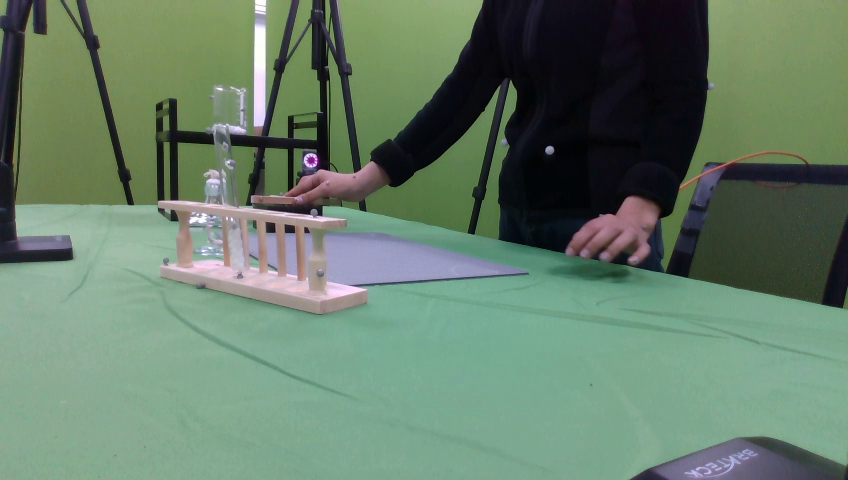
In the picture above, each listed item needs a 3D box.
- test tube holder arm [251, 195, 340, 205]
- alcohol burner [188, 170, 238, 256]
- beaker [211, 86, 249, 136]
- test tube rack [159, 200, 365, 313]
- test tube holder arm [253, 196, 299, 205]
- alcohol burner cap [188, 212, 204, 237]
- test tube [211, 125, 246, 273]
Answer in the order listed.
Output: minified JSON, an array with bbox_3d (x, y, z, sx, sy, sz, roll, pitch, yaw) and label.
[{"bbox_3d":[-0.241,-0.075,1.153,0.179,0.015,0.013,-1,15,-38],"label":"test tube holder arm"},{"bbox_3d":[-0.296,-0.038,0.851,0.078,0.119,0.078,2,5,0],"label":"alcohol burner"},{"bbox_3d":[-0.413,-0.274,1.297,0.074,0.100,0.083,-5,11,-44],"label":"beaker"},{"bbox_3d":[-0.173,0.009,0.624,0.241,0.085,0.067,7,9,34],"label":"test tube rack"},{"bbox_3d":[-0.274,-0.074,1.121,0.088,0.015,0.010,-1,15,-37],"label":"test tube holder arm"},{"bbox_3d":[-0.389,-0.029,1.026,0.034,0.048,0.034,3,8,0],"label":"alcohol burner cap"},{"bbox_3d":[-0.198,-0.041,0.614,0.017,0.150,0.017,-5,7,1],"label":"test tube"}]
